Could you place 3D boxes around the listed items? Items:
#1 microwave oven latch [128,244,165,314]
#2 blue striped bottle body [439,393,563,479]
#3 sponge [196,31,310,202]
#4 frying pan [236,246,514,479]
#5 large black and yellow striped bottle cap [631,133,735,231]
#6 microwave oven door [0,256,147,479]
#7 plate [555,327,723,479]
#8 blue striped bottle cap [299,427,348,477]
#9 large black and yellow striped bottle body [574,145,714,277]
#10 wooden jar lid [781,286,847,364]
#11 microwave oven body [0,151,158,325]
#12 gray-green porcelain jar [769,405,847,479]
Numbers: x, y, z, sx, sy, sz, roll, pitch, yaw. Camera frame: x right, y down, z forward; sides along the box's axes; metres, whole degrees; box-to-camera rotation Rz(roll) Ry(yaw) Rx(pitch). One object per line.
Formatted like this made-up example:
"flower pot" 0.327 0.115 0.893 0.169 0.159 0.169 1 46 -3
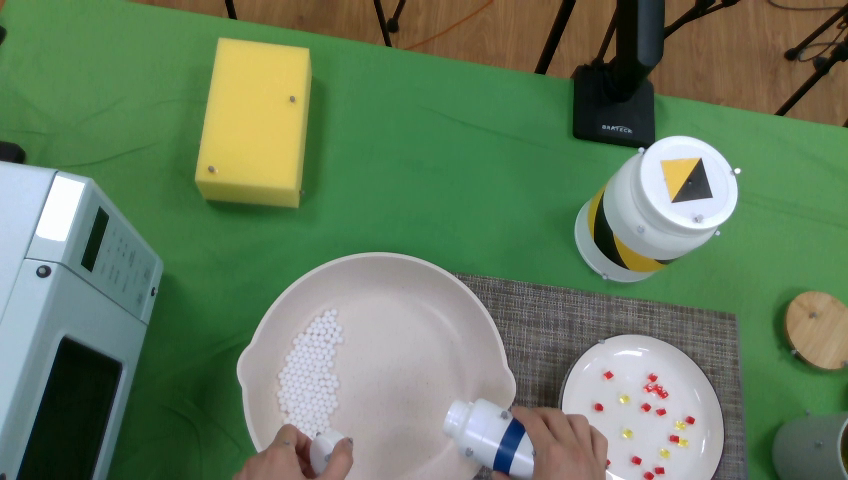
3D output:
"microwave oven latch" -0.322 0.043 0.695 0.030 0.029 0.078 12 71 -5
"blue striped bottle body" 0.077 0.201 0.629 0.120 0.063 0.063 21 69 16
"sponge" -0.216 -0.160 0.785 0.118 0.061 0.205 4 72 -7
"frying pan" -0.062 0.245 0.648 0.307 0.103 0.484 7 63 -3
"large black and yellow striped bottle cap" 0.288 -0.066 0.673 0.115 0.019 0.114 3 70 -7
"microwave oven door" -0.338 0.214 0.527 0.039 0.245 0.353 9 70 -5
"plate" 0.258 0.212 0.741 0.209 0.038 0.207 2 71 -7
"blue striped bottle cap" -0.095 0.198 0.566 0.044 0.021 0.044 -8 70 24
"large black and yellow striped bottle body" 0.277 -0.039 0.754 0.131 0.185 0.130 3 70 -7
"wooden jar lid" 0.536 0.117 0.827 0.108 0.021 0.107 2 73 -7
"microwave oven body" -0.477 0.153 0.532 0.327 0.261 0.439 9 71 -6
"gray-green porcelain jar" 0.489 0.252 0.718 0.106 0.127 0.105 3 71 -7
